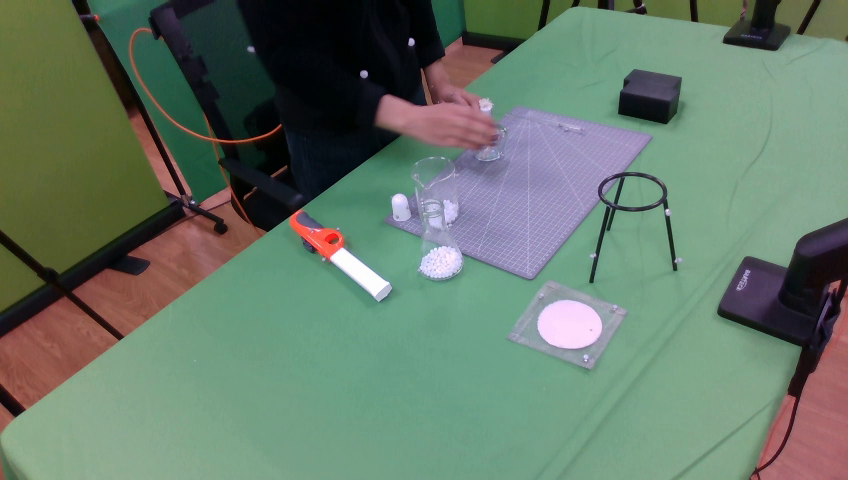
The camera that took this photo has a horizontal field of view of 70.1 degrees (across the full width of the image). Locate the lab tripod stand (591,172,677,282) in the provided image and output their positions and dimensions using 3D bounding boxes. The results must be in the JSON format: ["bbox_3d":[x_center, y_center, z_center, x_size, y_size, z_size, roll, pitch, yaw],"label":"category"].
[{"bbox_3d":[0.292,-0.022,0.867,0.148,0.132,0.147,-7,39,6],"label":"lab tripod stand"}]

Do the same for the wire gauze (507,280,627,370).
[{"bbox_3d":[0.196,0.114,0.823,0.120,0.011,0.125,20,50,31],"label":"wire gauze"}]

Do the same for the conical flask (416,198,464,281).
[{"bbox_3d":[0.019,-0.004,0.907,0.075,0.122,0.075,-5,40,5],"label":"conical flask"}]

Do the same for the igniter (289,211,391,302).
[{"bbox_3d":[-0.146,0.019,0.986,0.057,0.025,0.274,-40,48,-17],"label":"igniter"}]

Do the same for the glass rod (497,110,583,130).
[{"bbox_3d":[0.233,-0.245,1.235,0.198,0.008,0.008,21,49,34],"label":"glass rod"}]

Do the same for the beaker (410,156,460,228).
[{"bbox_3d":[0.020,-0.076,1.006,0.074,0.101,0.084,3,42,15],"label":"beaker"}]

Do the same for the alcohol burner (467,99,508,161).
[{"bbox_3d":[0.119,-0.210,1.134,0.078,0.119,0.077,-4,39,4],"label":"alcohol burner"}]

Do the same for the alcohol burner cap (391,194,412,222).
[{"bbox_3d":[-0.041,-0.057,1.040,0.034,0.048,0.033,-6,40,5],"label":"alcohol burner cap"}]
